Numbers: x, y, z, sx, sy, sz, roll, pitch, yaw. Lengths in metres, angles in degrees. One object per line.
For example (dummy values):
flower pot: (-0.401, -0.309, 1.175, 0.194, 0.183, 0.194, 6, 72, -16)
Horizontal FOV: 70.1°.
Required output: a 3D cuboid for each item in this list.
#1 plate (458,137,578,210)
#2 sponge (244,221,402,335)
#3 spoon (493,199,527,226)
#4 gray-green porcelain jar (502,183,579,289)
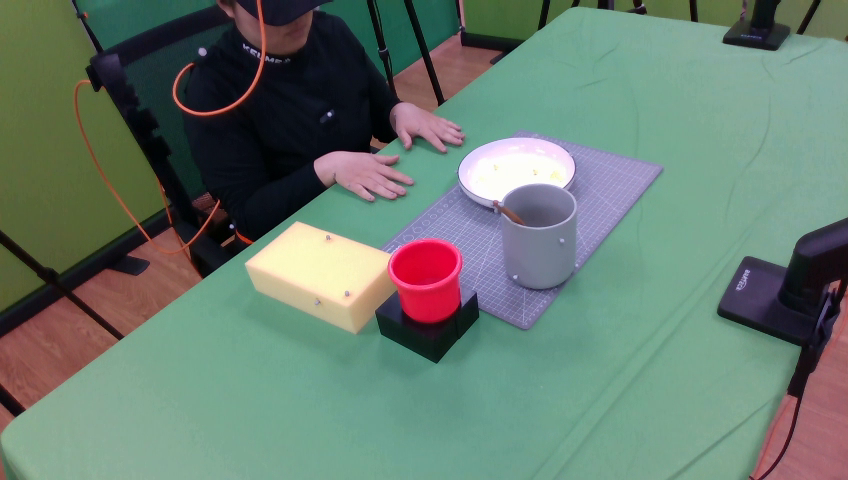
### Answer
plate: (0.165, -0.113, 1.068, 0.207, 0.039, 0.206, -5, 40, 5)
sponge: (-0.153, 0.052, 0.919, 0.205, 0.061, 0.118, 18, 47, 28)
spoon: (0.135, -0.016, 0.831, 0.021, 0.195, 0.041, -49, 53, -1)
gray-green porcelain jar: (0.166, -0.001, 0.866, 0.106, 0.127, 0.105, -5, 40, 5)
